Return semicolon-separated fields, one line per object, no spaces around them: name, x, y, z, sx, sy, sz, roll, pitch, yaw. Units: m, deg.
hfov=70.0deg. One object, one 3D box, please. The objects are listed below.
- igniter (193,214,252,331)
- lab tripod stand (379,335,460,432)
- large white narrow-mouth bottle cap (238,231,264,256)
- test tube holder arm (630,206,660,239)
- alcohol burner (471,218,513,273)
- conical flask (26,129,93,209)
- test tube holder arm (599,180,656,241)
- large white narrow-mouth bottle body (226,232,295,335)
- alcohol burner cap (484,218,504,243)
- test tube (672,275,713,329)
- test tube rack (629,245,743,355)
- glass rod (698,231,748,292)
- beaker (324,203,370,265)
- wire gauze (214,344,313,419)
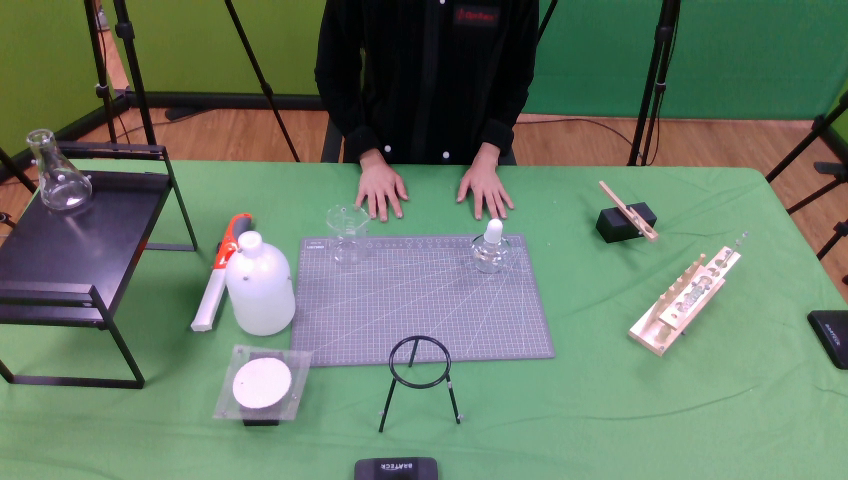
igniter;-0.368;0.050;1.119;0.057;0.025;0.275;-3;46;7
lab tripod stand;-0.011;0.214;0.912;0.148;0.132;0.147;1;45;0
large white narrow-mouth bottle cap;-0.266;0.006;0.933;0.038;0.024;0.037;2;46;-2
test tube holder arm;0.432;-0.035;1.192;0.010;0.015;0.087;-23;51;-12
alcohol burner;0.128;0.005;1.132;0.078;0.120;0.077;0;47;0
conical flask;-0.575;-0.113;0.946;0.075;0.122;0.075;2;46;-2
test tube holder arm;0.407;-0.062;1.219;0.013;0.015;0.177;-23;51;-12
large white narrow-mouth bottle body;-0.270;0.065;0.995;0.102;0.195;0.101;2;46;-2
alcohol burner cap;0.130;-0.021;1.106;0.034;0.048;0.033;3;51;-4
test tube;0.438;0.106;1.007;0.017;0.151;0.017;4;51;-4
test tube rack;0.474;0.095;1.091;0.242;0.085;0.066;-34;56;-31
glass rod;0.514;0.044;1.051;0.008;0.200;0.008;1;55;-1
beaker;-0.142;-0.009;1.137;0.084;0.101;0.073;-3;47;-7
wire gauze;-0.241;0.213;0.916;0.121;0.011;0.124;5;46;1
